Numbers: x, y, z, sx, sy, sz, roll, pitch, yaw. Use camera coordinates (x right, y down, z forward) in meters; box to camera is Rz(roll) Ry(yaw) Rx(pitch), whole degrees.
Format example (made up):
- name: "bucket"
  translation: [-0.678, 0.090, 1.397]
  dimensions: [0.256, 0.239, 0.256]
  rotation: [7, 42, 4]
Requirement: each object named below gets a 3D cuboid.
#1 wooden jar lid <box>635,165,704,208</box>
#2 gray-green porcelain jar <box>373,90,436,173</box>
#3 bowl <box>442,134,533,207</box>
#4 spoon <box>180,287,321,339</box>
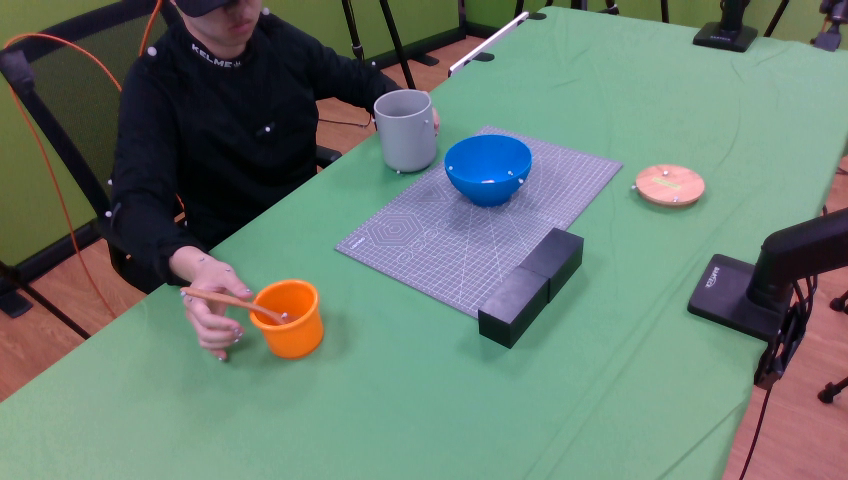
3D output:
- name: "wooden jar lid"
  translation: [0.410, -0.089, 1.014]
  dimensions: [0.108, 0.021, 0.108]
  rotation: [-5, 42, 5]
- name: "gray-green porcelain jar"
  translation: [-0.034, -0.198, 1.125]
  dimensions: [0.106, 0.127, 0.105]
  rotation: [-4, 40, 4]
- name: "bowl"
  translation: [0.110, -0.109, 1.033]
  dimensions: [0.151, 0.077, 0.150]
  rotation: [-4, 41, 4]
- name: "spoon"
  translation: [-0.223, 0.093, 0.796]
  dimensions: [0.021, 0.195, 0.041]
  rotation: [-46, 36, 24]
